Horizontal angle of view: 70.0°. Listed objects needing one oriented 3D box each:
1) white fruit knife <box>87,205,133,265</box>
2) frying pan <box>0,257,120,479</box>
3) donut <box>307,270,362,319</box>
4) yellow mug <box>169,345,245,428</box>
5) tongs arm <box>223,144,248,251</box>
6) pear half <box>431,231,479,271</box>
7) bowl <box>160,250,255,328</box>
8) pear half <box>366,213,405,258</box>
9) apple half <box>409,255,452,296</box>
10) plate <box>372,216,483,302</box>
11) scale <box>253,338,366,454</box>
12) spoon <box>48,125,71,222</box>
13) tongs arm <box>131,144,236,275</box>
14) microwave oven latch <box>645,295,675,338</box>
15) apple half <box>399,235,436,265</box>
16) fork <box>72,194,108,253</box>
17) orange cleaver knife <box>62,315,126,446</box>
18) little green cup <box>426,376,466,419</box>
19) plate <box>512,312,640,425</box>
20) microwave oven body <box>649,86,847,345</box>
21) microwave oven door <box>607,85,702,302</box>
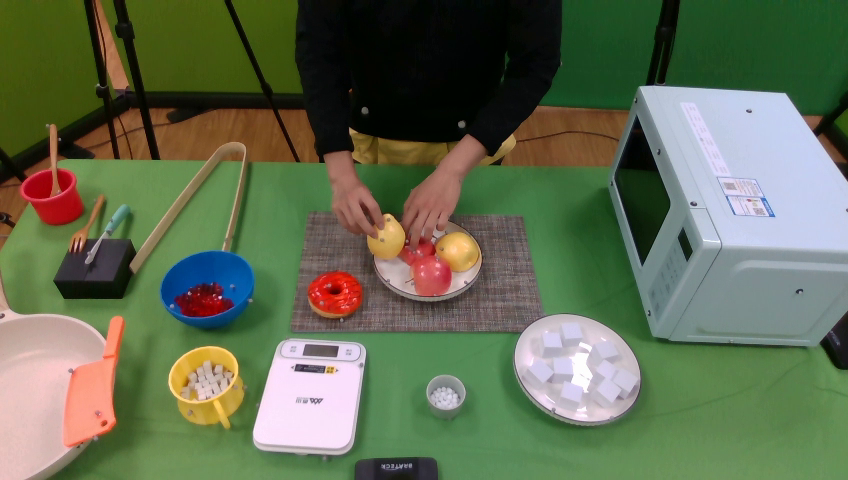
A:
[{"bbox_3d":[-0.584,-0.013,1.129,0.016,0.027,0.206,-1,32,-4],"label":"white fruit knife"},{"bbox_3d":[-0.647,0.164,0.936,0.307,0.103,0.485,-19,58,-22],"label":"frying pan"},{"bbox_3d":[-0.158,0.096,1.073,0.099,0.048,0.098,4,45,-4],"label":"donut"},{"bbox_3d":[-0.322,0.230,0.922,0.100,0.064,0.130,-24,53,-25],"label":"yellow mug"},{"bbox_3d":[-0.397,-0.073,1.232,0.051,0.027,0.382,-3,45,1],"label":"tongs arm"},{"bbox_3d":[0.050,0.007,1.155,0.109,0.056,0.076,30,53,35],"label":"pear half"},{"bbox_3d":[-0.362,0.098,1.040,0.151,0.077,0.150,2,45,-2],"label":"bowl"},{"bbox_3d":[-0.067,-0.004,1.097,0.070,0.088,0.031,-4,29,-14],"label":"pear half"},{"bbox_3d":[0.014,0.058,1.103,0.075,0.053,0.080,-3,43,-11],"label":"apple half"},{"bbox_3d":[0.006,0.038,1.146,0.209,0.038,0.208,2,46,-2],"label":"plate"},{"bbox_3d":[-0.175,0.236,0.951,0.149,0.032,0.199,4,45,-1],"label":"scale"},{"bbox_3d":[-0.718,-0.131,1.188,0.041,0.021,0.193,-3,90,-7],"label":"spoon"},{"bbox_3d":[-0.484,-0.076,1.237,0.028,0.028,0.385,5,45,14],"label":"tongs arm"},{"bbox_3d":[0.411,0.134,1.061,0.030,0.029,0.078,3,45,0],"label":"microwave oven latch"},{"bbox_3d":[-0.014,0.009,1.157,0.081,0.033,0.081,-14,36,11],"label":"apple half"},{"bbox_3d":[-0.634,-0.036,1.158,0.028,0.019,0.206,-8,32,-8],"label":"fork"},{"bbox_3d":[-0.480,0.199,0.887,0.077,0.012,0.210,-9,47,-8],"label":"orange cleaver knife"},{"bbox_3d":[0.033,0.248,0.950,0.061,0.039,0.061,2,46,-2],"label":"little green cup"},{"bbox_3d":[0.246,0.213,0.999,0.208,0.039,0.206,2,46,-2],"label":"plate"},{"bbox_3d":[0.567,-0.053,1.118,0.326,0.261,0.439,2,45,-1],"label":"microwave oven body"},{"bbox_3d":[0.423,-0.094,1.140,0.039,0.245,0.353,2,46,-1],"label":"microwave oven door"}]
